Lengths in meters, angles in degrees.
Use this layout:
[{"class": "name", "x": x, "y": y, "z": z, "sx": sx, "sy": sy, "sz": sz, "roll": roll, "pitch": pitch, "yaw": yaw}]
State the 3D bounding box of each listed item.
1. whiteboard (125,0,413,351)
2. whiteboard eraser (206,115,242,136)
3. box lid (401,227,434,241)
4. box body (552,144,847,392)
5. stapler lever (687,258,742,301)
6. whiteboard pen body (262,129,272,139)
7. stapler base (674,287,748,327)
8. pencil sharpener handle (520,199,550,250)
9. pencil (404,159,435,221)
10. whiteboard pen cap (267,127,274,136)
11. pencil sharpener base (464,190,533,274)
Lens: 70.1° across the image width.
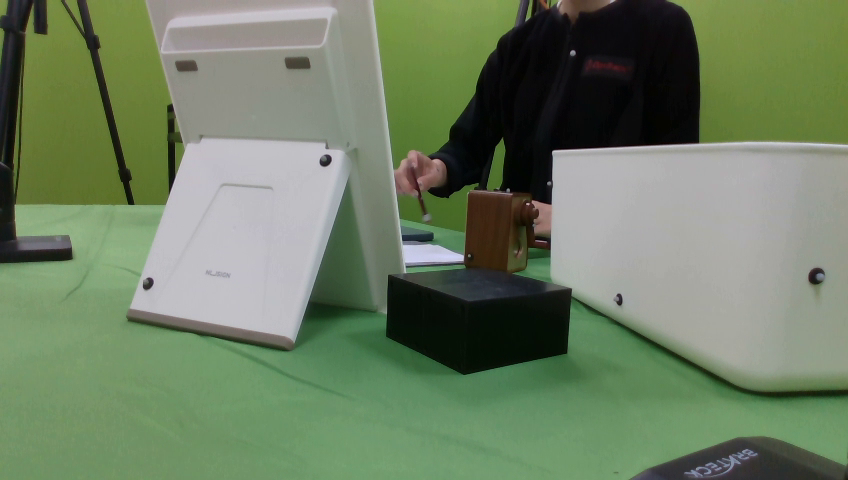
[{"class": "whiteboard", "x": -0.151, "y": -0.050, "z": 0.471, "sx": 0.216, "sy": 0.305, "sz": 0.144, "roll": 6, "pitch": 27, "yaw": 24}, {"class": "whiteboard eraser", "x": -0.438, "y": -0.249, "z": 1.320, "sx": 0.056, "sy": 0.042, "sz": 0.112, "roll": -3, "pitch": 9, "yaw": -30}, {"class": "box lid", "x": -0.196, "y": -0.015, "z": 1.105, "sx": 0.373, "sy": 0.015, "sz": 0.262, "roll": -1, "pitch": 7, "yaw": -32}, {"class": "box body", "x": 0.290, "y": 0.002, "z": 0.549, "sx": 0.255, "sy": 0.160, "sz": 0.363, "roll": 2, "pitch": 7, "yaw": -10}, {"class": "stapler lever", "x": 0.283, "y": 0.035, "z": 0.585, "sx": 0.026, "sy": 0.040, "sz": 0.119, "roll": 11, "pitch": 8, "yaw": 37}, {"class": "whiteboard pen body", "x": -0.361, "y": -0.245, "z": 1.393, "sx": 0.017, "sy": 0.017, "sz": 0.140, "roll": 0, "pitch": 5, "yaw": -20}, {"class": "stapler base", "x": 0.281, "y": 0.061, "z": 0.586, "sx": 0.041, "sy": 0.024, "sz": 0.131, "roll": 11, "pitch": 9, "yaw": 37}, {"class": "pencil sharpener handle", "x": 0.147, "y": -0.019, "z": 0.785, "sx": 0.030, "sy": 0.068, "sz": 0.036, "roll": 8, "pitch": 26, "yaw": 36}, {"class": "pencil", "x": -0.006, "y": -0.074, "z": 0.937, "sx": 0.012, "sy": 0.012, "sz": 0.194, "roll": 4, "pitch": -23, "yaw": 15}, {"class": "whiteboard pen cap", "x": -0.340, "y": -0.239, "z": 1.337, "sx": 0.018, "sy": 0.018, "sz": 0.033, "roll": 1, "pitch": -1, "yaw": -15}, {"class": "pencil sharpener base", "x": 0.103, "y": -0.012, "z": 0.813, "sx": 0.076, "sy": 0.107, "sz": 0.061, "roll": 8, "pitch": 9, "yaw": 36}]
